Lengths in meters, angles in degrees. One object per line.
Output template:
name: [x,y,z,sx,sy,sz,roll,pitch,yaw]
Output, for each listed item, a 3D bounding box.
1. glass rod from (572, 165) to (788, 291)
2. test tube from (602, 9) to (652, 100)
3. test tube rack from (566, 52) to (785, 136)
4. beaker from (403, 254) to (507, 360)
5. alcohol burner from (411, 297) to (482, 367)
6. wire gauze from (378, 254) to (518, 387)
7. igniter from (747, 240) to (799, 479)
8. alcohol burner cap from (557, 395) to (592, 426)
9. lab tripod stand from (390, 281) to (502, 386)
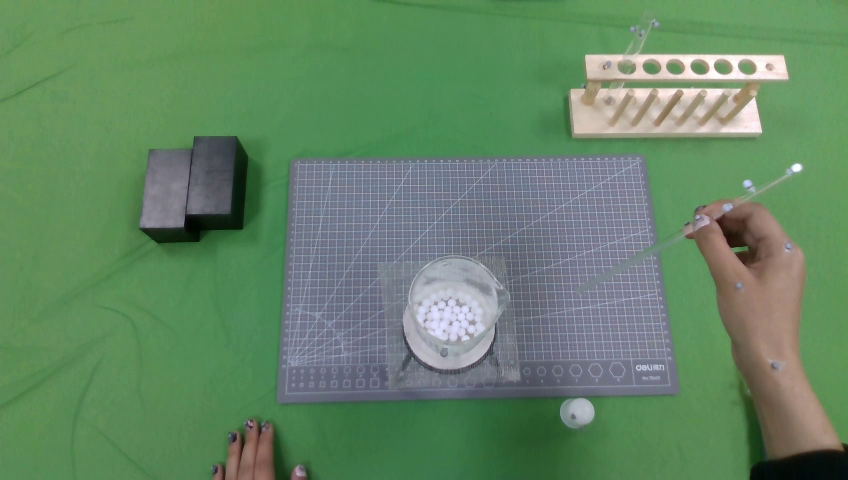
glass rod: [0.198,-0.004,0.495,0.008,0.200,0.008,27,45,-29]
test tube: [0.236,-0.214,0.716,0.017,0.151,0.017,0,68,0]
test tube rack: [0.309,-0.180,0.758,0.242,0.085,0.066,-1,71,-1]
beaker: [0.025,0.062,0.524,0.084,0.101,0.073,-5,71,-3]
alcohol burner: [0.025,0.094,0.644,0.078,0.120,0.077,1,70,-2]
wire gauze: [0.021,0.074,0.570,0.125,0.011,0.120,-4,70,0]
igniter: [0.392,0.134,0.687,0.057,0.025,0.275,9,72,-9]
alcohol burner cap: [0.166,0.185,0.659,0.034,0.048,0.033,0,70,0]
lab tripod stand: [0.020,0.098,0.632,0.148,0.132,0.147,0,71,1]
